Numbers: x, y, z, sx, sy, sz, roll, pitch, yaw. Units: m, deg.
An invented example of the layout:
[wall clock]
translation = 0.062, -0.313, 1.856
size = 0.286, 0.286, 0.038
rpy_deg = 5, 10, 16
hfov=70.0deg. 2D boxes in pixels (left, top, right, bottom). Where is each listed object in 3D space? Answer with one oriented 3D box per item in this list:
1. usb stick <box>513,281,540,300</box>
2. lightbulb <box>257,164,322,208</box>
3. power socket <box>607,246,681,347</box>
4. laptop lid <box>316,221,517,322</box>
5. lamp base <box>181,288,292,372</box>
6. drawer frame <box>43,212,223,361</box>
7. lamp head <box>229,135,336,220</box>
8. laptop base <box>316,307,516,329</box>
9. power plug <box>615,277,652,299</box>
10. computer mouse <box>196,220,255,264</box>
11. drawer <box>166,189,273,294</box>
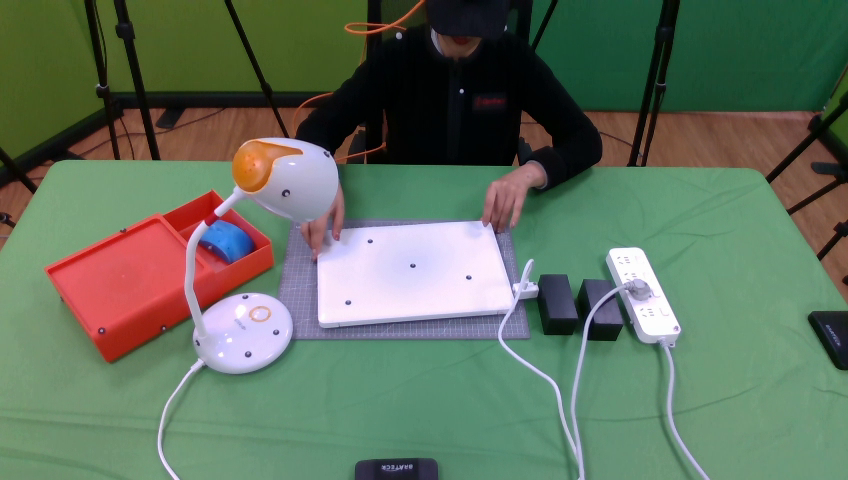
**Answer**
[usb stick]
translation = 0.179, 0.093, 1.103
size = 0.059, 0.027, 0.021
rpy_deg = -9, 50, -8
[lightbulb]
translation = -0.181, -0.077, 0.810
size = 0.059, 0.059, 0.108
rpy_deg = 36, 11, 28
[power socket]
translation = 0.403, 0.096, 1.123
size = 0.072, 0.033, 0.225
rpy_deg = -3, 46, -5
[laptop lid]
translation = -0.022, 0.050, 1.131
size = 0.357, 0.013, 0.240
rpy_deg = -2, 44, -6
[lamp base]
translation = -0.309, 0.108, 0.959
size = 0.160, 0.181, 0.179
rpy_deg = 30, 55, 22
[drawer frame]
translation = -0.497, 0.073, 1.049
size = 0.213, 0.083, 0.200
rpy_deg = -34, 57, -31
[lamp head]
translation = -0.196, -0.085, 0.791
size = 0.112, 0.112, 0.123
rpy_deg = 35, 14, 27
[laptop base]
translation = -0.023, 0.060, 1.138
size = 0.355, 0.023, 0.234
rpy_deg = -3, 43, -7
[power plug]
translation = 0.375, 0.088, 1.096
size = 0.072, 0.053, 0.035
rpy_deg = 5, 46, 2
[computer mouse]
translation = -0.380, -0.002, 1.152
size = 0.116, 0.041, 0.062
rpy_deg = 28, 53, 28
[drawer]
translation = -0.419, 0.021, 1.108
size = 0.193, 0.073, 0.211
rpy_deg = 37, 55, 27
